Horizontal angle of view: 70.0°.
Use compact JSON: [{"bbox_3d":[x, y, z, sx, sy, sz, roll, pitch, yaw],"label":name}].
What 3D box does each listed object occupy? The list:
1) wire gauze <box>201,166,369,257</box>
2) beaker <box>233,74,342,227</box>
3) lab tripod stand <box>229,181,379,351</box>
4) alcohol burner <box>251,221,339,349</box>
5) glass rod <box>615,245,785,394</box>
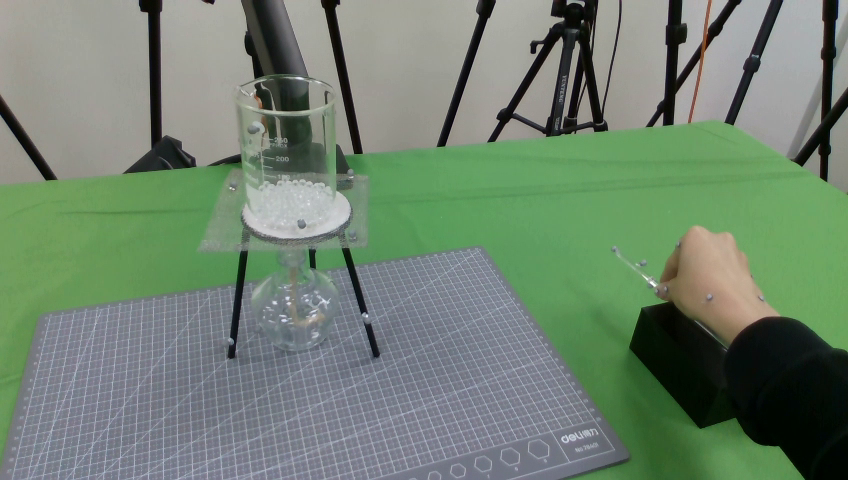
[{"bbox_3d":[-0.106,-0.027,0.493,0.121,0.011,0.124,0,37,-5],"label":"wire gauze"},{"bbox_3d":[-0.105,-0.068,0.466,0.083,0.101,0.074,22,38,22],"label":"beaker"},{"bbox_3d":[-0.103,0.027,0.531,0.148,0.132,0.147,4,34,-2],"label":"lab tripod stand"},{"bbox_3d":[-0.115,0.036,0.534,0.078,0.120,0.077,2,33,-1],"label":"alcohol burner"},{"bbox_3d":[0.237,0.063,0.539,0.008,0.008,0.197,-14,41,-23],"label":"glass rod"}]
